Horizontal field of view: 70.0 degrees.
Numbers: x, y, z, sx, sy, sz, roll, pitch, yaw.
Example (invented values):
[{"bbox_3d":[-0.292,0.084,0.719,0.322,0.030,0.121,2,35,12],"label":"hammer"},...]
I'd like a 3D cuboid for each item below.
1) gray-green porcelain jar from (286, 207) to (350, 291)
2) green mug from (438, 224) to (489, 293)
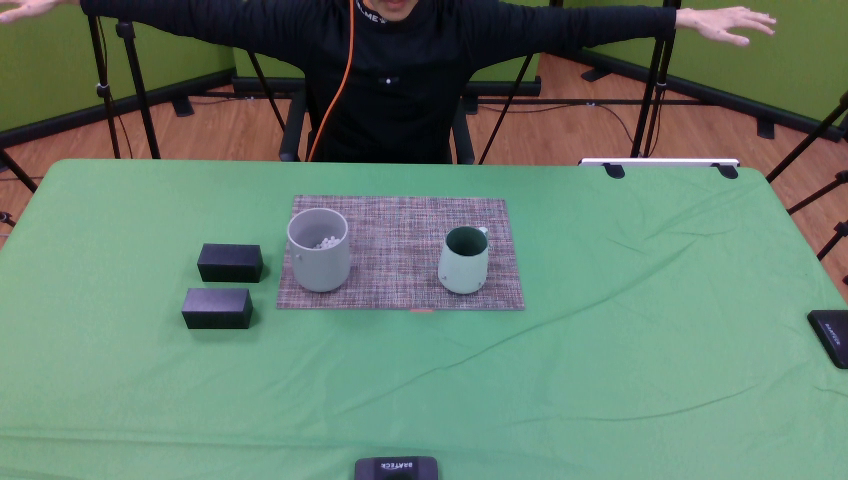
[{"bbox_3d":[-0.187,0.021,1.084,0.106,0.127,0.105,2,47,-2],"label":"gray-green porcelain jar"},{"bbox_3d":[0.083,0.025,1.115,0.092,0.105,0.125,27,51,20],"label":"green mug"}]
